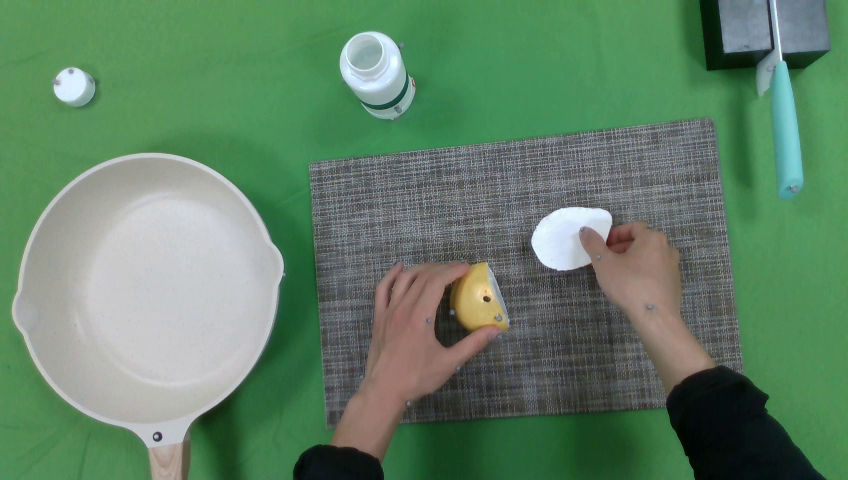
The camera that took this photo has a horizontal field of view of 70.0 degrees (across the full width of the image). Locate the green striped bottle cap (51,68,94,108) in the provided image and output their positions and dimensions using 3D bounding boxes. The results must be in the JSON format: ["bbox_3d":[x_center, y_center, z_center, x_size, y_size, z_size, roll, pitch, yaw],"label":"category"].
[{"bbox_3d":[-0.423,-0.183,0.729,0.044,0.020,0.044,-1,86,7],"label":"green striped bottle cap"}]

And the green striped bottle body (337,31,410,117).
[{"bbox_3d":[-0.053,-0.176,0.639,0.063,0.119,0.063,0,85,6],"label":"green striped bottle body"}]

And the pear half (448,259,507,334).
[{"bbox_3d":[0.052,0.060,0.614,0.056,0.110,0.076,-25,80,3],"label":"pear half"}]

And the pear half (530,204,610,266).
[{"bbox_3d":[0.157,-0.004,0.645,0.088,0.031,0.070,-28,68,-4],"label":"pear half"}]

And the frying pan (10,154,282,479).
[{"bbox_3d":[-0.279,0.153,0.649,0.306,0.103,0.485,-10,77,6],"label":"frying pan"}]

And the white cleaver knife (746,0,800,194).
[{"bbox_3d":[0.355,-0.188,0.623,0.021,0.066,0.285,-3,84,12],"label":"white cleaver knife"}]
